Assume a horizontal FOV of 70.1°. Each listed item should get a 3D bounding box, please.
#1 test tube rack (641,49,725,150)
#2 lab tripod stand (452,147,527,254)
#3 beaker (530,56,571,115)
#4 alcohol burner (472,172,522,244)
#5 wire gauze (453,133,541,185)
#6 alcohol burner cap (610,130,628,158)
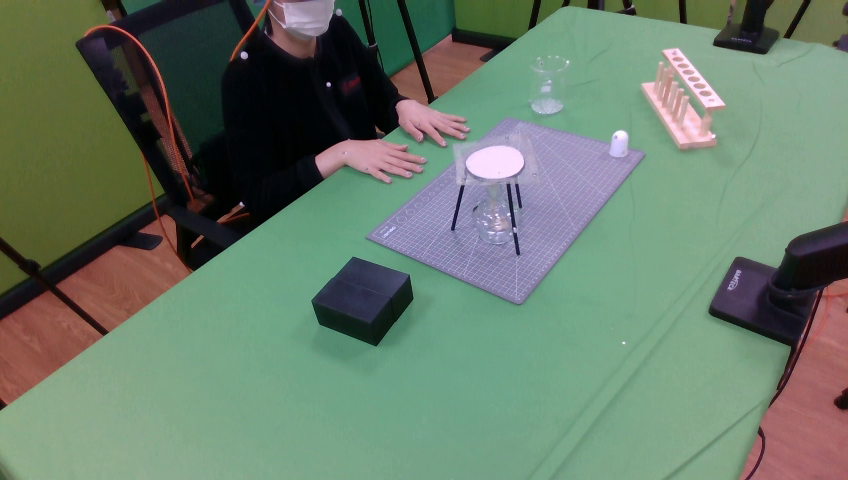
[{"bbox_3d":[0.495,-0.279,1.175,0.067,0.085,0.241,-5,41,3],"label":"test tube rack"},{"bbox_3d":[0.111,-0.066,0.943,0.148,0.132,0.147,-5,42,5],"label":"lab tripod stand"},{"bbox_3d":[0.259,-0.316,1.244,0.084,0.101,0.073,-12,41,-5],"label":"beaker"},{"bbox_3d":[0.112,-0.053,0.942,0.078,0.119,0.077,-6,40,5],"label":"alcohol burner"},{"bbox_3d":[0.105,-0.119,0.902,0.125,0.011,0.121,-5,41,6],"label":"wire gauze"},{"bbox_3d":[0.359,-0.177,1.106,0.034,0.048,0.033,-5,41,5],"label":"alcohol burner cap"}]
